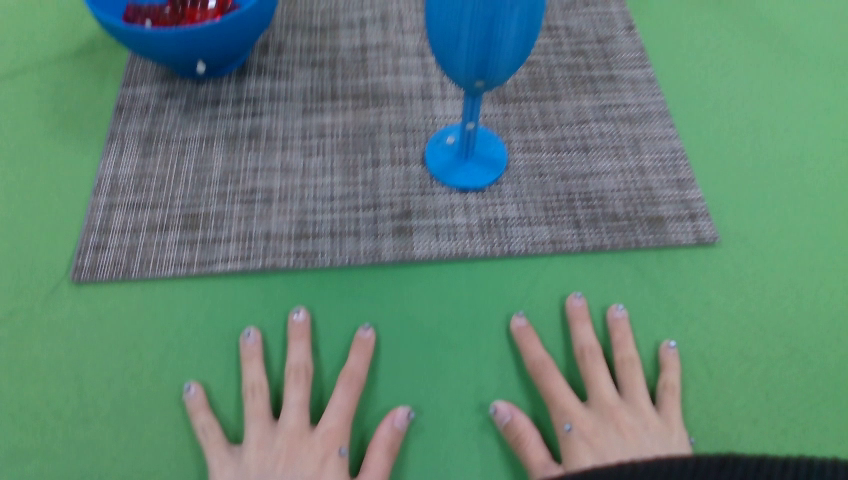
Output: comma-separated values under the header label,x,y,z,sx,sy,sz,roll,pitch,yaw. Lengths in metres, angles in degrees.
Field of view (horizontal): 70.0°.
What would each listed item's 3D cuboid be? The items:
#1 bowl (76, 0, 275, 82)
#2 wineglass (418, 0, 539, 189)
label,x,y,z,sx,sy,sz,roll,pitch,yaw
bowl,-0.190,-0.185,0.494,0.151,0.077,0.150,1,57,-1
wineglass,0.031,-0.112,0.399,0.074,0.173,0.073,1,57,-1
